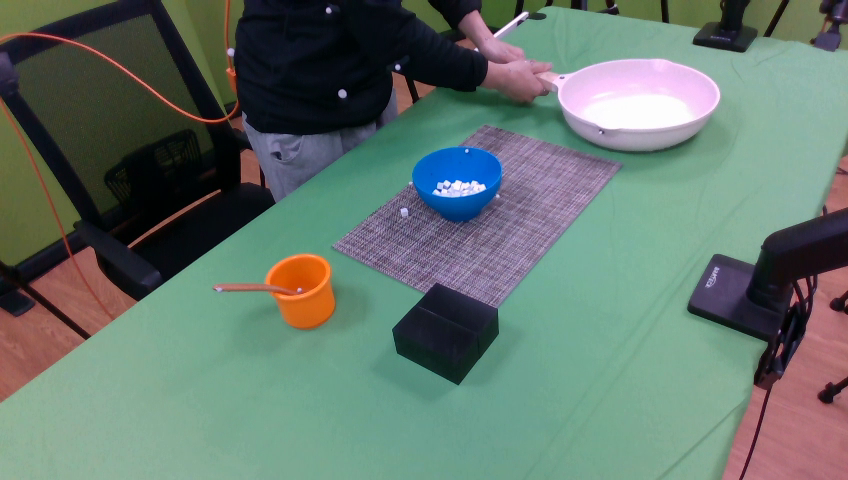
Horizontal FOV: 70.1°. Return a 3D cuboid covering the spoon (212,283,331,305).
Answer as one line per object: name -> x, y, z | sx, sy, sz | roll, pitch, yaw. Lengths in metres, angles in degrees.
spoon -> -0.201, 0.069, 0.819 | 0.041, 0.195, 0.021 | 33, 99, 37

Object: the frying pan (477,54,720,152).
frying pan -> 0.321, -0.300, 1.208 | 0.485, 0.103, 0.307 | 26, 49, 23

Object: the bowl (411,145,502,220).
bowl -> 0.057, -0.086, 1.010 | 0.151, 0.077, 0.150 | -4, 40, 4
